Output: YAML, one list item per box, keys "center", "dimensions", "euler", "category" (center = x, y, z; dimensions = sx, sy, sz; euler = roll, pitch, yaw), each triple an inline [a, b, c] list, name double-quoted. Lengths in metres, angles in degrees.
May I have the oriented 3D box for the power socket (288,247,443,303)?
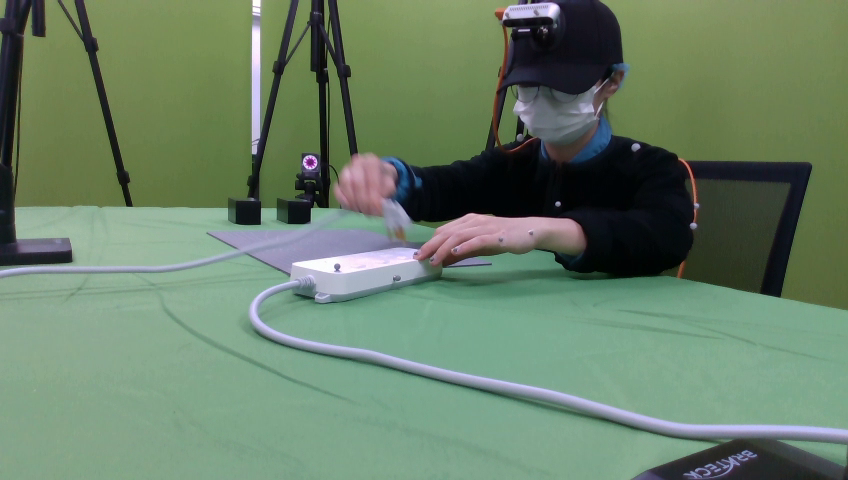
- center: [-0.058, 0.034, 0.687]
  dimensions: [0.072, 0.032, 0.228]
  euler: [8, 9, 33]
  category: "power socket"

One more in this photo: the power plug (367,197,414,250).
- center: [-0.039, -0.023, 0.721]
  dimensions: [0.053, 0.035, 0.072]
  euler: [3, 32, -17]
  category: "power plug"
